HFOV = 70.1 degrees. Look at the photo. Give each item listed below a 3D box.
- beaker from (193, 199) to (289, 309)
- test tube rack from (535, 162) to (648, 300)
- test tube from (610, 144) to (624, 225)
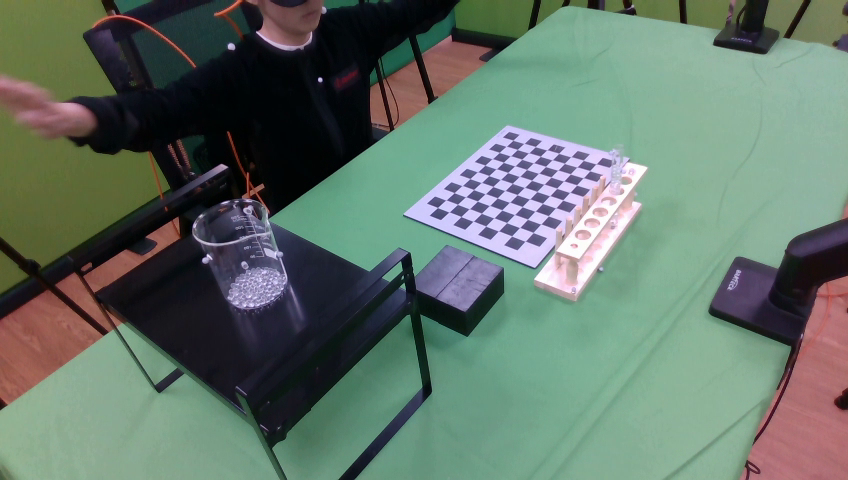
[{"bbox_3d":[-0.188,0.018,0.646,0.083,0.101,0.074,9,43,17],"label":"beaker"},{"bbox_3d":[0.257,-0.024,0.916,0.066,0.085,0.243,22,49,30],"label":"test tube rack"},{"bbox_3d":[0.286,-0.078,0.898,0.017,0.151,0.017,-7,44,7],"label":"test tube"}]
